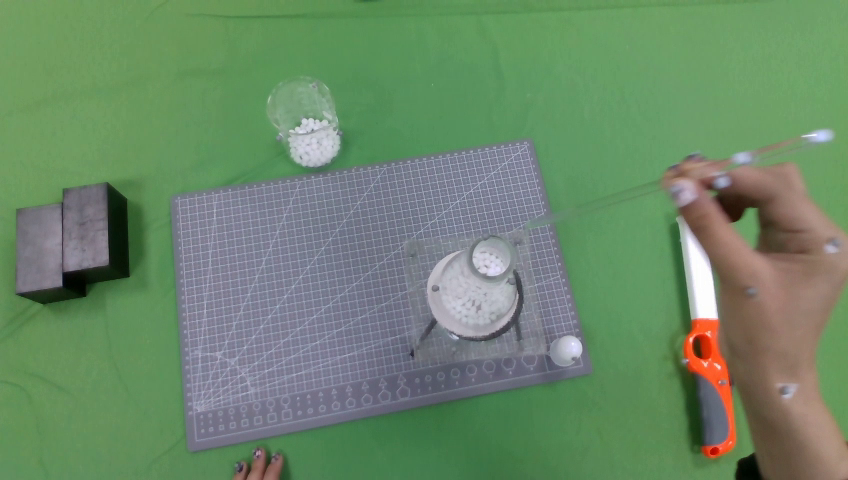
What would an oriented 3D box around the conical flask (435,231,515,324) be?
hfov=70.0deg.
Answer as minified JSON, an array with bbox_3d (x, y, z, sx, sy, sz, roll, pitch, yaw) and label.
[{"bbox_3d":[0.049,0.027,0.517,0.075,0.122,0.075,0,74,-1],"label":"conical flask"}]

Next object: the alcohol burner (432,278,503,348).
[{"bbox_3d":[0.047,0.074,0.644,0.078,0.120,0.077,0,73,1],"label":"alcohol burner"}]

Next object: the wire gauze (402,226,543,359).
[{"bbox_3d":[0.045,0.049,0.572,0.125,0.011,0.121,-4,76,-5],"label":"wire gauze"}]

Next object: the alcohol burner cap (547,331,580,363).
[{"bbox_3d":[0.157,0.117,0.671,0.034,0.048,0.033,0,73,-1],"label":"alcohol burner cap"}]

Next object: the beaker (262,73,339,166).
[{"bbox_3d":[-0.138,-0.136,0.714,0.084,0.101,0.073,25,74,6],"label":"beaker"}]

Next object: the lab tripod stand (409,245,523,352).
[{"bbox_3d":[0.046,0.070,0.635,0.148,0.132,0.147,0,75,-1],"label":"lab tripod stand"}]

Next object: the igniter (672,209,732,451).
[{"bbox_3d":[0.316,0.097,0.692,0.057,0.025,0.275,4,73,-11],"label":"igniter"}]

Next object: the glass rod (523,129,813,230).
[{"bbox_3d":[0.121,-0.028,0.350,0.008,0.199,0.008,7,76,-29],"label":"glass rod"}]
